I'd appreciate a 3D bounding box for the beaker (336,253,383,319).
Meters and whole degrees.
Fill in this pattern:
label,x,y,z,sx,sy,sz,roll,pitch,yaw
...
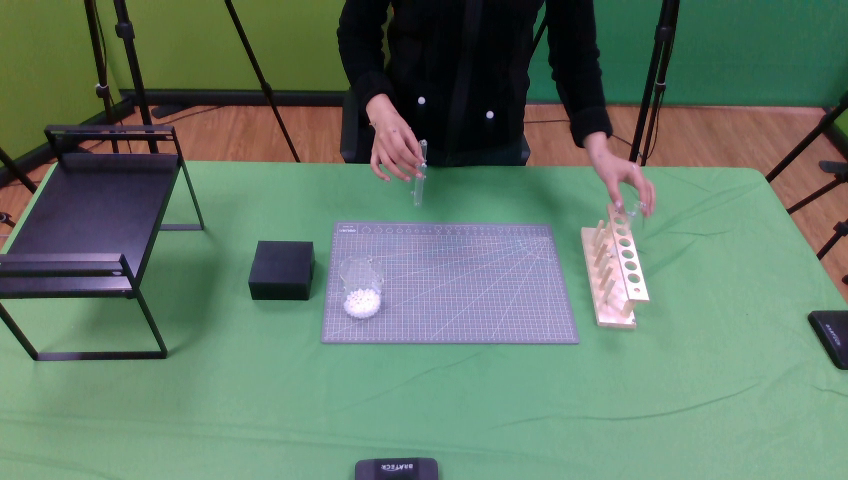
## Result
label,x,y,z,sx,sy,sz,roll,pitch,yaw
beaker,-0.108,0.084,1.052,0.084,0.101,0.074,25,50,17

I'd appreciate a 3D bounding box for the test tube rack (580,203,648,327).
label,x,y,z,sx,sy,sz,roll,pitch,yaw
test tube rack,0.353,0.041,1.143,0.067,0.085,0.241,4,46,0

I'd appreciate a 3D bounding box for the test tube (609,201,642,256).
label,x,y,z,sx,sy,sz,roll,pitch,yaw
test tube,0.375,-0.019,1.134,0.017,0.151,0.017,3,51,-4

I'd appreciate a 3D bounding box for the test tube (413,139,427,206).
label,x,y,z,sx,sy,sz,roll,pitch,yaw
test tube,-0.008,-0.121,1.114,0.017,0.151,0.017,3,44,-3
